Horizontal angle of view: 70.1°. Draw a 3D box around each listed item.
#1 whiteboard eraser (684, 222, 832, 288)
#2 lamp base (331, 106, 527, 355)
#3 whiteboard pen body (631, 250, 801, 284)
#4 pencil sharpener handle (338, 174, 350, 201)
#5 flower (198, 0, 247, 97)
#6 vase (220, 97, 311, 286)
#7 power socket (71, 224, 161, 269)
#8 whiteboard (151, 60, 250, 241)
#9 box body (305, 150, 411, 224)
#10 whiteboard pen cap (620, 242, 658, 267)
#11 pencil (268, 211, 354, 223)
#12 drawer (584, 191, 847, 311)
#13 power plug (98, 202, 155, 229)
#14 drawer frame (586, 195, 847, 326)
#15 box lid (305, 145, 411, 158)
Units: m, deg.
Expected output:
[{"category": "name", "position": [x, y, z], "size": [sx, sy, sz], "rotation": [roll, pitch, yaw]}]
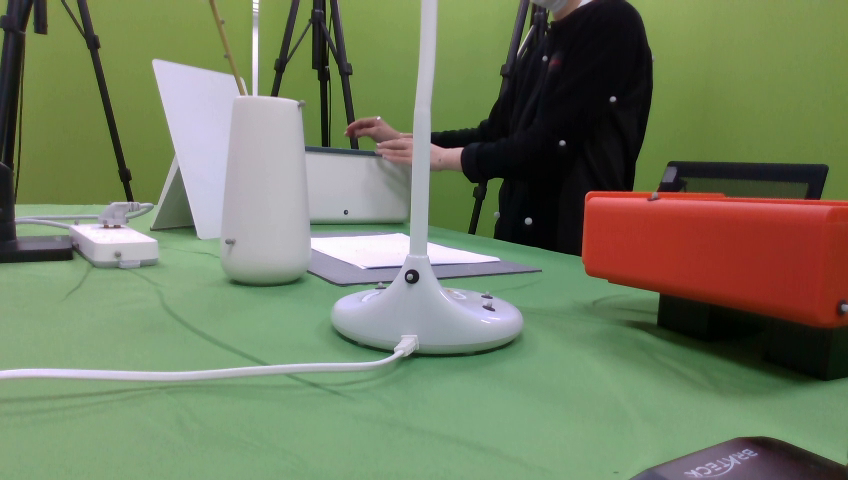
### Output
[{"category": "whiteboard eraser", "position": [0.304, 0.013, 0.558], "size": [0.056, 0.042, 0.112], "rotation": [-10, 20, -30]}, {"category": "lamp base", "position": [0.006, -0.012, 0.478], "size": [0.161, 0.180, 0.179], "rotation": [2, 10, 2]}, {"category": "whiteboard pen body", "position": [0.240, 0.020, 0.512], "size": [0.017, 0.017, 0.140], "rotation": [-4, 8, -41]}, {"category": "pencil sharpener handle", "position": [-0.191, -0.126, 1.463], "size": [0.031, 0.067, 0.036], "rotation": [-1, 22, -31]}, {"category": "flower", "position": [-0.187, -0.133, 0.648], "size": [0.038, 0.362, 0.044], "rotation": [0, 22, 43]}, {"category": "vase", "position": [-0.172, -0.052, 0.662], "size": [0.098, 0.200, 0.098], "rotation": [3, 8, 0]}, {"category": "power socket", "position": [-0.408, 0.004, 0.793], "size": [0.072, 0.032, 0.225], "rotation": [-2, 8, -38]}, {"category": "whiteboard", "position": [-0.408, -0.140, 1.093], "size": [0.143, 0.305, 0.218], "rotation": [-15, 0, 25]}, {"category": "box body", "position": [-0.233, -0.127, 1.373], "size": [0.366, 0.160, 0.253], "rotation": [-2, 8, -29]}, {"category": "whiteboard pen cap", "position": [0.199, 0.013, 0.557], "size": [0.018, 0.018, 0.033], "rotation": [-4, 16, -39]}, {"category": "pencil", "position": [-0.246, -0.049, 1.336], "size": [0.195, 0.012, 0.012], "rotation": [6, 5, -26]}, {"category": "drawer", "position": [0.280, 0.001, 0.513], "size": [0.195, 0.073, 0.211], "rotation": [0, 8, -28]}, {"category": "power plug", "position": [-0.416, -0.027, 0.848], "size": [0.073, 0.052, 0.035], "rotation": [0, 8, -28]}, {"category": "drawer frame", "position": [0.284, 0.004, 0.508], "size": [0.203, 0.082, 0.212], "rotation": [-1, 6, -28]}, {"category": "box lid", "position": [-0.232, -0.200, 1.363], "size": [0.373, 0.015, 0.262], "rotation": [0, 8, -29]}]
